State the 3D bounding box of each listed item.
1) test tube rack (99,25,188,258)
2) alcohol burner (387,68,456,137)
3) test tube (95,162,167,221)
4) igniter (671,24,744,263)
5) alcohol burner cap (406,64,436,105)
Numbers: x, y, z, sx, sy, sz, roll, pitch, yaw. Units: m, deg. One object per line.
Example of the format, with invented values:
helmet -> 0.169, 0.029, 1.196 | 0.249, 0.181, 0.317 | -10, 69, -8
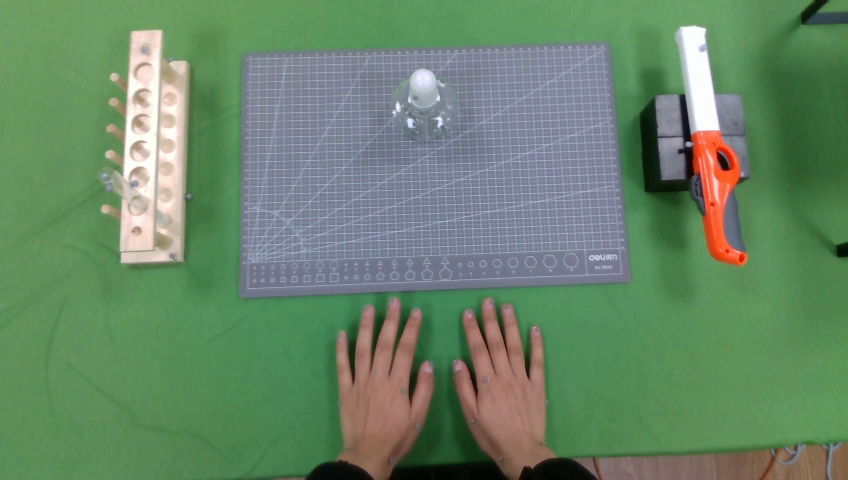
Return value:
test tube rack -> -0.315, -0.105, 0.674 | 0.067, 0.085, 0.241 | -2, 81, -1
alcohol burner -> -0.003, -0.160, 0.673 | 0.078, 0.119, 0.077 | 0, 81, 1
test tube -> -0.293, -0.046, 0.615 | 0.017, 0.151, 0.017 | 1, 76, -4
igniter -> 0.311, -0.109, 0.669 | 0.057, 0.025, 0.275 | -3, 78, -4
alcohol burner cap -> -0.004, -0.166, 0.637 | 0.034, 0.048, 0.033 | 0, 81, 2
